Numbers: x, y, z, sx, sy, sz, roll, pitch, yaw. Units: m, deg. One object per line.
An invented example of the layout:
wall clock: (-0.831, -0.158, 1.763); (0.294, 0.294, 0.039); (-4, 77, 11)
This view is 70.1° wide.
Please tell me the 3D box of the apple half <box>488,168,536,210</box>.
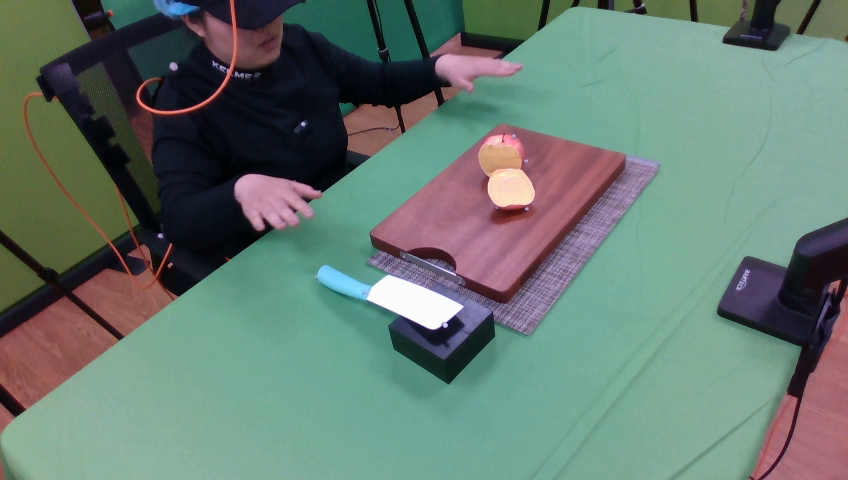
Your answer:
apple half: (0.142, -0.080, 0.995); (0.081, 0.033, 0.081); (1, 62, -2)

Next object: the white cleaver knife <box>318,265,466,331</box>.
white cleaver knife: (-0.056, 0.075, 0.871); (0.284, 0.021, 0.066); (17, 42, 43)

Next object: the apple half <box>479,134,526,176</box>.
apple half: (0.141, -0.149, 1.052); (0.080, 0.075, 0.053); (7, 39, 24)
